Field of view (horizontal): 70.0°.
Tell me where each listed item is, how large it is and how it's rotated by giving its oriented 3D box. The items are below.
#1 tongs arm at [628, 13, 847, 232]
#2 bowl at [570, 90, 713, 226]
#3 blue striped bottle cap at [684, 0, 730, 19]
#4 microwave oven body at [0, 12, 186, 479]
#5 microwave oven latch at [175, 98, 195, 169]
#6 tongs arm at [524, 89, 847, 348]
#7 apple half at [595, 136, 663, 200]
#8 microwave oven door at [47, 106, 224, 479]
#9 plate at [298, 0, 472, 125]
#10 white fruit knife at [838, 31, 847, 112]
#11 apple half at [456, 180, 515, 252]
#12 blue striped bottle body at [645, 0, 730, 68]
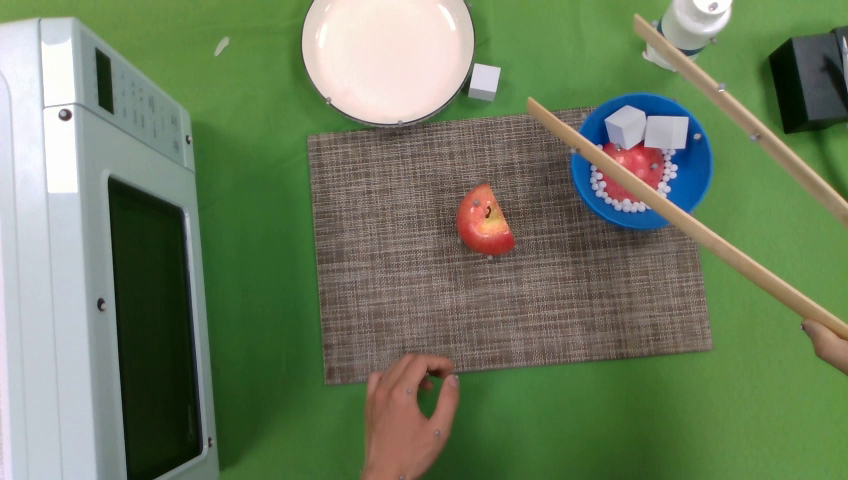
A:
[{"bbox_3d":[0.282,-0.064,0.508,0.051,0.027,0.381,-33,64,-4],"label":"tongs arm"},{"bbox_3d":[0.234,-0.084,0.685,0.151,0.077,0.151,0,83,2],"label":"bowl"},{"bbox_3d":[0.298,-0.256,0.634,0.044,0.020,0.044,0,86,1],"label":"blue striped bottle cap"},{"bbox_3d":[-0.418,0.058,0.595,0.326,0.261,0.440,-7,84,0],"label":"microwave oven body"},{"bbox_3d":[-0.289,-0.123,0.709,0.030,0.029,0.079,-7,84,0],"label":"microwave oven latch"},{"bbox_3d":[0.225,-0.021,0.503,0.028,0.028,0.384,-41,64,-12],"label":"tongs arm"},{"bbox_3d":[0.235,-0.084,0.681,0.081,0.033,0.081,0,82,2],"label":"apple half"},{"bbox_3d":[-0.267,0.080,0.584,0.039,0.244,0.354,-8,83,1],"label":"microwave oven door"},{"bbox_3d":[-0.046,-0.237,0.735,0.208,0.039,0.207,0,84,1],"label":"plate"},{"bbox_3d":[0.486,-0.131,0.684,0.016,0.027,0.208,-13,100,18],"label":"white fruit knife"},{"bbox_3d":[0.064,-0.020,0.686,0.053,0.075,0.080,-25,87,3],"label":"apple half"},{"bbox_3d":[0.299,-0.248,0.684,0.063,0.121,0.063,0,82,2],"label":"blue striped bottle body"}]
